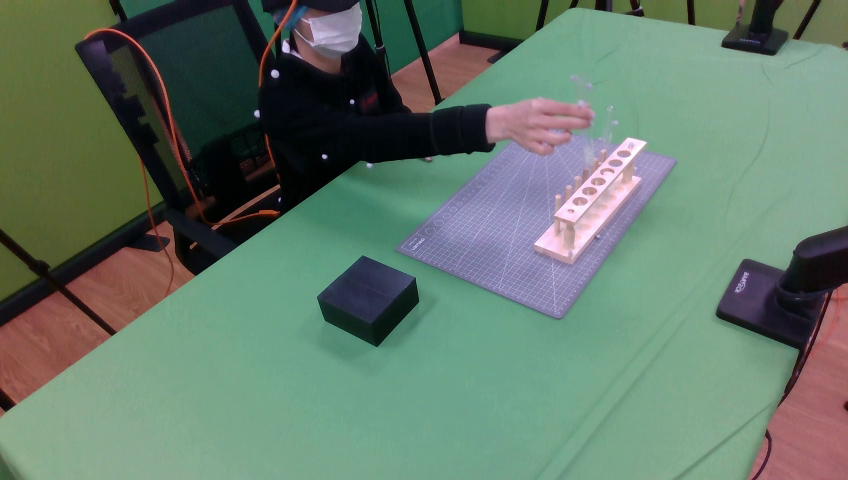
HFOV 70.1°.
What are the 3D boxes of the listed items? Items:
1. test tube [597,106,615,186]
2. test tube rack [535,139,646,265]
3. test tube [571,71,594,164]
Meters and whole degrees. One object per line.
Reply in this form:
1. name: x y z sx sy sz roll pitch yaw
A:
1. test tube: 0.295 -0.150 0.984 0.017 0.151 0.017 -4 41 4
2. test tube rack: 0.269 -0.071 0.964 0.066 0.085 0.243 23 49 32
3. test tube: 0.226 -0.170 0.857 0.017 0.151 0.017 -12 40 11
